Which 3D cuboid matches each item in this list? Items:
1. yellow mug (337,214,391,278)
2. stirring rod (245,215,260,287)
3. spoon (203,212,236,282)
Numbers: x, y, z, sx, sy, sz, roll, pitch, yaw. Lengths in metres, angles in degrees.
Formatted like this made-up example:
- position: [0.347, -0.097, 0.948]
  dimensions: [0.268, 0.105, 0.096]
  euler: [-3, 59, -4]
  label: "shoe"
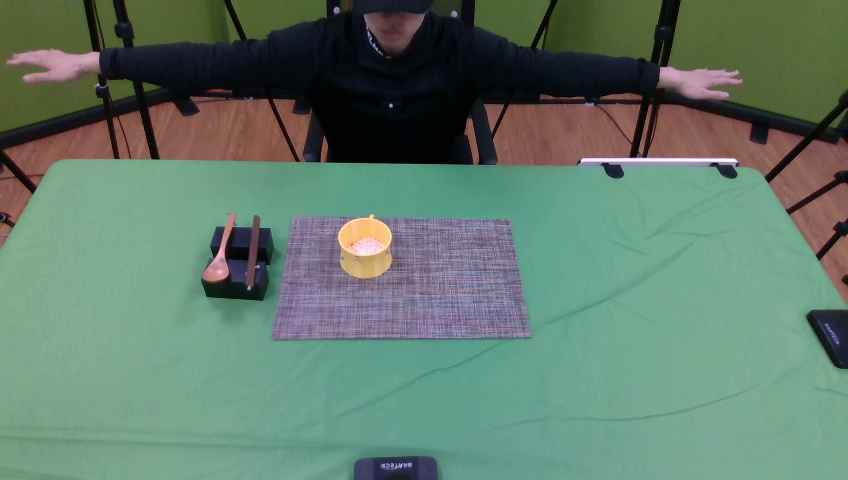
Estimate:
- position: [-0.110, 0.003, 1.152]
  dimensions: [0.100, 0.064, 0.130]
  euler: [7, 45, 2]
  label: "yellow mug"
- position: [-0.310, 0.016, 1.096]
  dimensions: [0.014, 0.006, 0.175]
  euler: [27, 36, -32]
  label: "stirring rod"
- position: [-0.361, 0.009, 1.097]
  dimensions: [0.041, 0.022, 0.192]
  euler: [0, 44, -3]
  label: "spoon"
